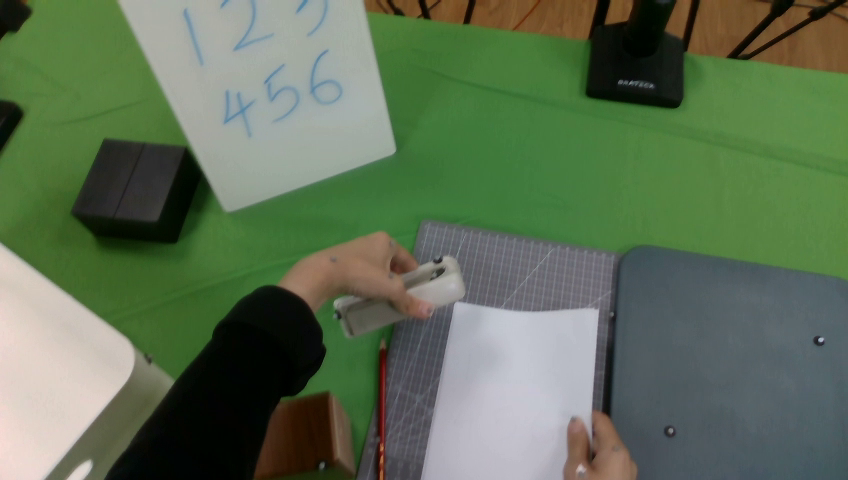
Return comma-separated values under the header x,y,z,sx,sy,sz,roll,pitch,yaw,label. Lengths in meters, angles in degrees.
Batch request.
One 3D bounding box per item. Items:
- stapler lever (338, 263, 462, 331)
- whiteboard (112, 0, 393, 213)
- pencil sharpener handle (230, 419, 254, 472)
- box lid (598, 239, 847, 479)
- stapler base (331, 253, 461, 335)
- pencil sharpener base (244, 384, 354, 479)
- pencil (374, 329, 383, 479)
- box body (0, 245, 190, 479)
x,y,z,sx,sy,sz,roll,pitch,yaw,label
-0.020,0.054,0.568,0.118,0.040,0.027,-22,94,-10,stapler lever
-0.183,-0.219,0.668,0.217,0.308,0.142,-21,45,-9,whiteboard
-0.159,0.184,0.527,0.031,0.068,0.035,-11,48,-3,pencil sharpener handle
0.308,0.176,0.591,0.263,0.015,0.369,10,64,5,box lid
-0.024,0.052,0.593,0.131,0.024,0.041,-22,95,-9,stapler base
-0.110,0.177,0.544,0.077,0.108,0.061,-11,63,-4,pencil sharpener base
-0.045,0.179,0.595,0.012,0.012,0.192,-3,63,0,pencil
-0.432,0.131,0.541,0.362,0.161,0.253,29,68,15,box body
